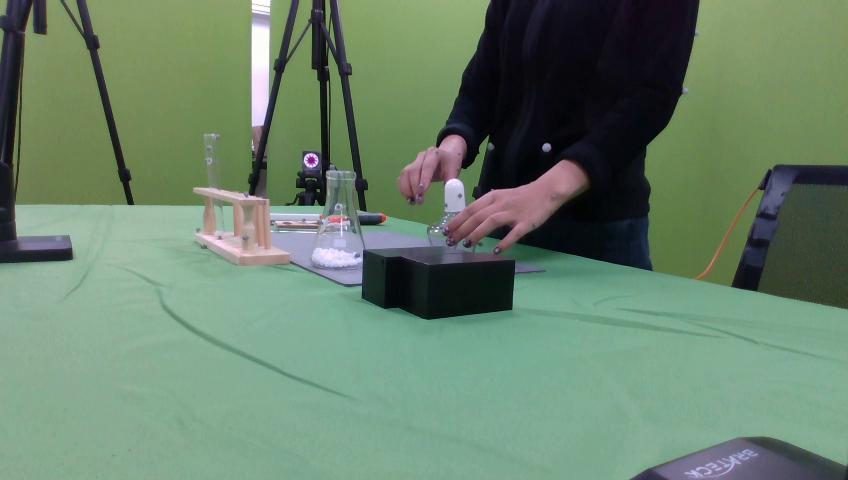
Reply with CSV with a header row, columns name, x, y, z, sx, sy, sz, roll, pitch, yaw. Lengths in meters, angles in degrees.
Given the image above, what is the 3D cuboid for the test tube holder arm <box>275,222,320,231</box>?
name,x,y,z,sx,sy,sz,roll,pitch,yaw
test tube holder arm,-0.238,-0.026,1.145,0.088,0.015,0.010,-3,46,-39

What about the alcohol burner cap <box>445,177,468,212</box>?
name,x,y,z,sx,sy,sz,roll,pitch,yaw
alcohol burner cap,0.044,-0.064,0.847,0.034,0.048,0.034,-5,12,1

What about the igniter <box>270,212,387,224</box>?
name,x,y,z,sx,sy,sz,roll,pitch,yaw
igniter,-0.213,-0.048,1.278,0.278,0.025,0.057,-1,-2,-25

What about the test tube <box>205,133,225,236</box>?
name,x,y,z,sx,sy,sz,roll,pitch,yaw
test tube,-0.305,-0.079,0.883,0.017,0.150,0.017,-2,10,1

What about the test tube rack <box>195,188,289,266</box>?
name,x,y,z,sx,sy,sz,roll,pitch,yaw
test tube rack,-0.266,-0.025,0.864,0.067,0.085,0.241,-2,8,-33

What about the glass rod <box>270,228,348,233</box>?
name,x,y,z,sx,sy,sz,roll,pitch,yaw
glass rod,-0.234,-0.017,1.105,0.201,0.008,0.008,1,7,-26

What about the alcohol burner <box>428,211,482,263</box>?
name,x,y,z,sx,sy,sz,roll,pitch,yaw
alcohol burner,0.044,-0.028,0.852,0.078,0.119,0.078,2,9,0

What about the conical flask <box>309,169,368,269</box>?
name,x,y,z,sx,sy,sz,roll,pitch,yaw
conical flask,-0.107,-0.028,0.762,0.075,0.122,0.075,2,7,0

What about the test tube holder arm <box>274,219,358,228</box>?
name,x,y,z,sx,sy,sz,roll,pitch,yaw
test tube holder arm,-0.206,-0.032,1.177,0.179,0.015,0.013,-4,46,-39
